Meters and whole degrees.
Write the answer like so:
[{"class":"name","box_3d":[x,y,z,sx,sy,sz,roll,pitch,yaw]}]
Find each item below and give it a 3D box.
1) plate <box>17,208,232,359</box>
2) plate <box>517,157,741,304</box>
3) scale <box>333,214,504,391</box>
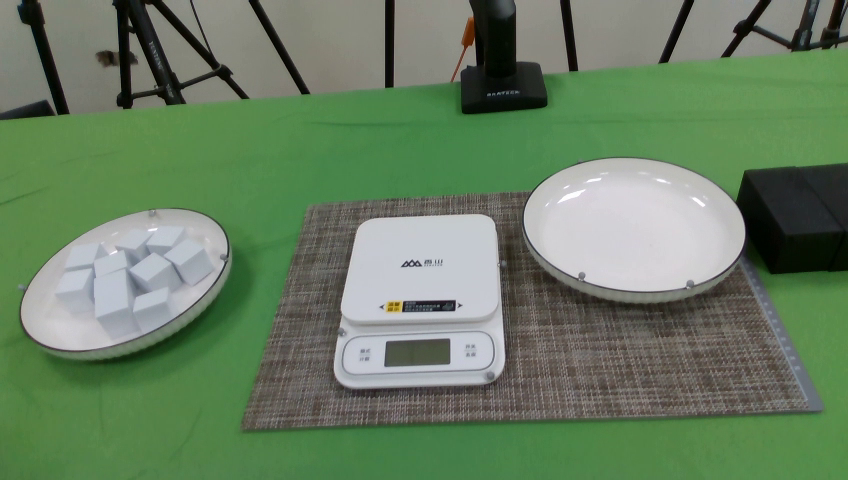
[{"class":"plate","box_3d":[-0.300,0.045,0.628,0.209,0.038,0.207,-4,41,4]},{"class":"plate","box_3d":[0.198,-0.009,0.603,0.207,0.039,0.205,-4,41,4]},{"class":"scale","box_3d":[-0.003,0.050,0.573,0.148,0.032,0.199,-3,42,6]}]
